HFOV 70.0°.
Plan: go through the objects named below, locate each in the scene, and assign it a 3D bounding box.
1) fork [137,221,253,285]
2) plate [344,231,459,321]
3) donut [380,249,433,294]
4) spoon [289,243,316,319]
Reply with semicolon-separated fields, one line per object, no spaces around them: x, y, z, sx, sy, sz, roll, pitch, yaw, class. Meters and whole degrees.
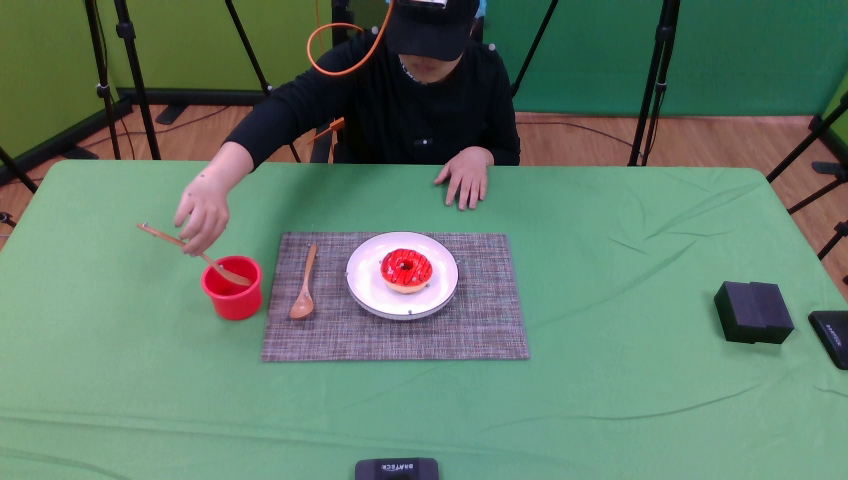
-0.373;0.024;0.996;0.018;0.208;0.028;-45;30;13;fork
-0.042;0.068;1.115;0.209;0.038;0.208;2;46;-2;plate
-0.032;0.056;1.111;0.099;0.048;0.098;4;43;-3;donut
-0.215;0.071;1.108;0.041;0.022;0.192;-10;45;10;spoon
